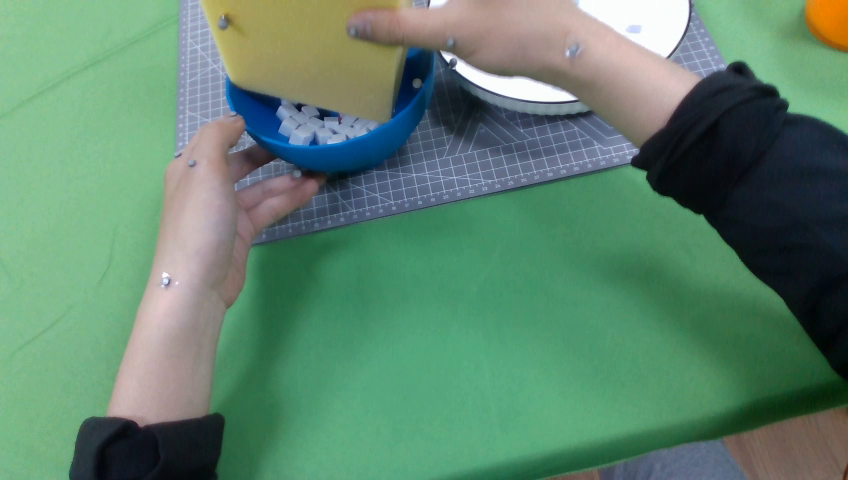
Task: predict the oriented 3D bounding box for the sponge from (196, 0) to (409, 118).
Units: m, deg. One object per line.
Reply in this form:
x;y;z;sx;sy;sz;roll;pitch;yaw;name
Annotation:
-0.068;-0.154;0.352;0.118;0.207;0.060;11;74;-2;sponge

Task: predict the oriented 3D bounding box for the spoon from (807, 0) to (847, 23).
0.372;-0.226;0.427;0.022;0.194;0.041;5;58;-41;spoon

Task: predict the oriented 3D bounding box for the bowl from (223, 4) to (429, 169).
-0.062;-0.106;0.455;0.151;0.077;0.150;-6;59;11;bowl

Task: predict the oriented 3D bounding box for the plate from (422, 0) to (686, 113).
0.103;-0.185;0.500;0.209;0.038;0.207;-3;63;6;plate
